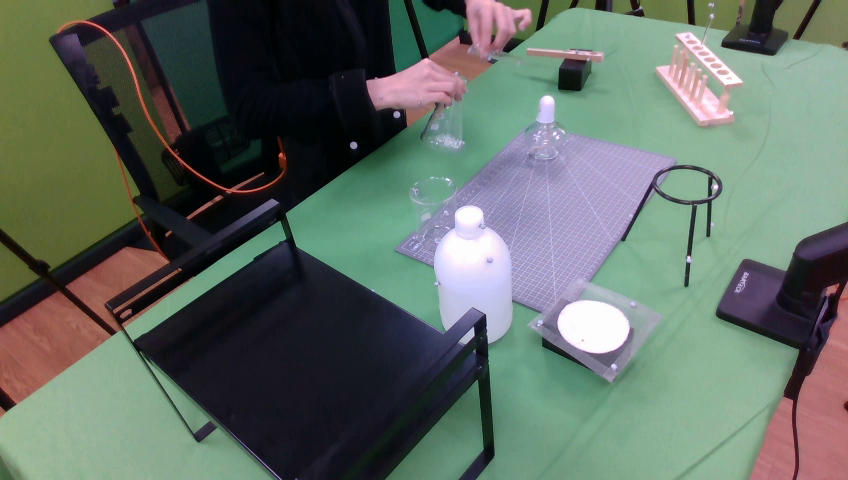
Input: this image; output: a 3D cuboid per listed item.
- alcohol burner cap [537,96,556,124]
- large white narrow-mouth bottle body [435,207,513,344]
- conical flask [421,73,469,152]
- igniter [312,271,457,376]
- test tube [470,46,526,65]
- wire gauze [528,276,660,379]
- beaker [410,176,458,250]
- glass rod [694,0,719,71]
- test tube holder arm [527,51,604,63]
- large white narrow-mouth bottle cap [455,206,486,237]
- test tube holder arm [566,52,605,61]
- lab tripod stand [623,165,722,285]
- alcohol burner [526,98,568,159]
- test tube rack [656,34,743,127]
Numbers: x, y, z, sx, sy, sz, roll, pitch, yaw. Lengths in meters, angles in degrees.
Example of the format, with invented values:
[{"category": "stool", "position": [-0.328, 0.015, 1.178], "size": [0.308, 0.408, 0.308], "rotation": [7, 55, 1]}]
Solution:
[{"category": "alcohol burner cap", "position": [0.223, -0.238, 1.095], "size": [0.034, 0.048, 0.033], "rotation": [-2, 37, 2]}, {"category": "large white narrow-mouth bottle body", "position": [0.065, 0.041, 0.791], "size": [0.102, 0.195, 0.101], "rotation": [-4, 41, 4]}, {"category": "conical flask", "position": [0.043, -0.216, 1.018], "size": [0.075, 0.122, 0.075], "rotation": [13, 22, -5]}, {"category": "igniter", "position": [-0.068, 0.111, 0.859], "size": [0.274, 0.025, 0.057], "rotation": [27, 61, 34]}, {"category": "test tube", "position": [0.130, -0.315, 1.036], "size": [0.017, 0.017, 0.151], "rotation": [29, 25, 36]}, {"category": "wire gauze", "position": [0.214, 0.103, 0.763], "size": [0.124, 0.011, 0.122], "rotation": [30, 52, 35]}, {"category": "beaker", "position": [0.022, -0.042, 0.964], "size": [0.073, 0.101, 0.084], "rotation": [28, 51, 35]}, {"category": "glass rod", "position": [0.561, -0.401, 1.214], "size": [0.008, 0.200, 0.008], "rotation": [-1, 48, 2]}, {"category": "test tube holder arm", "position": [0.311, -0.408, 1.343], "size": [0.177, 0.015, 0.013], "rotation": [14, 37, 29]}, {"category": "large white narrow-mouth bottle cap", "position": [0.057, -0.023, 0.734], "size": [0.038, 0.024, 0.037], "rotation": [-4, 40, 4]}, {"category": "test tube holder arm", "position": [0.352, -0.401, 1.325], "size": [0.087, 0.015, 0.010], "rotation": [15, 37, 30]}, {"category": "lab tripod stand", "position": [0.365, -0.030, 0.875], "size": [0.148, 0.132, 0.147], "rotation": [-6, 41, 6]}, {"category": "alcohol burner", "position": [0.228, -0.210, 1.118], "size": [0.078, 0.119, 0.077], "rotation": [-5, 43, 5]}, {"category": "test tube rack", "position": [0.553, -0.330, 1.233], "size": [0.067, 0.085, 0.241], "rotation": [-7, 40, 2]}]
